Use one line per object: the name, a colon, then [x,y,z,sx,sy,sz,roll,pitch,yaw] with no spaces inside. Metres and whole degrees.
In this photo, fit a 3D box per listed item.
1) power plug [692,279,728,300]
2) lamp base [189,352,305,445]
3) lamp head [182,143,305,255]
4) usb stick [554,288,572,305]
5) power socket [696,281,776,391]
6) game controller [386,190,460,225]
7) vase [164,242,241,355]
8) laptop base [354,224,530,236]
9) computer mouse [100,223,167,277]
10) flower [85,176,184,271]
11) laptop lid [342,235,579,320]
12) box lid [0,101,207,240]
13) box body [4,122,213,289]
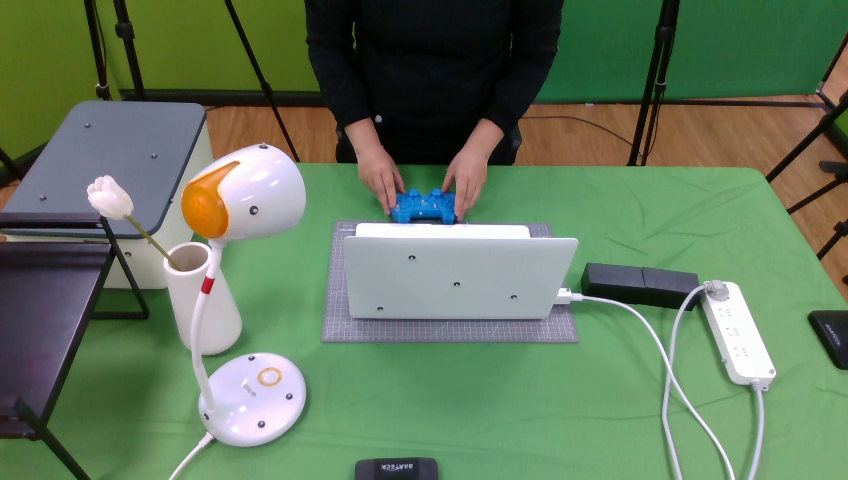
power plug: [0.522,0.091,1.116,0.072,0.053,0.035,10,47,8]
lamp base: [-0.268,0.196,0.876,0.160,0.181,0.179,26,52,20]
lamp head: [-0.216,-0.044,0.697,0.112,0.113,0.123,23,31,17]
usb stick: [0.236,0.102,1.101,0.059,0.027,0.021,-2,47,1]
power socket: [0.550,0.160,1.078,0.072,0.033,0.225,2,46,-1]
game controller: [-0.001,-0.073,1.251,0.155,0.052,0.096,-1,47,-4]
vase: [-0.349,0.096,0.954,0.098,0.201,0.097,3,47,-3]
laptop base: [0.040,0.055,1.149,0.355,0.023,0.234,1,43,-4]
computer mouse: [-0.539,0.014,1.123,0.062,0.041,0.117,30,57,18]
flower: [-0.365,0.038,0.894,0.038,0.364,0.044,-5,53,14]
laptop lid: [0.051,0.067,0.973,0.357,0.243,0.013,1,52,-5]
box lid: [-0.559,-0.137,1.084,0.263,0.015,0.369,2,46,-2]
box body: [-0.563,-0.086,1.138,0.254,0.161,0.361,2,46,-3]
